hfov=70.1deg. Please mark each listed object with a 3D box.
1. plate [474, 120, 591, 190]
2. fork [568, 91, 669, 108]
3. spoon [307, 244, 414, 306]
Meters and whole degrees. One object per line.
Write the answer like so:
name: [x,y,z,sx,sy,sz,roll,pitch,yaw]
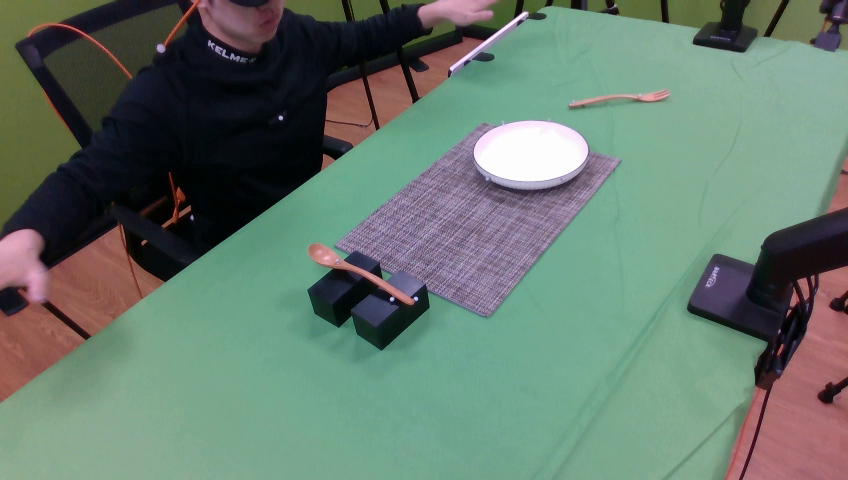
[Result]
plate: [0.196,-0.151,1.099,0.207,0.039,0.206,-4,40,4]
fork: [0.402,-0.290,1.252,0.207,0.019,0.028,-4,47,1]
spoon: [-0.091,0.048,0.848,0.192,0.021,0.042,22,26,30]
